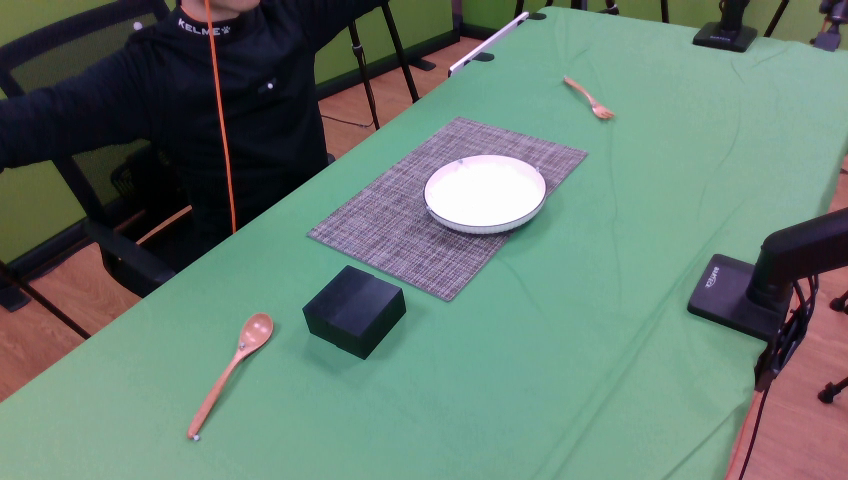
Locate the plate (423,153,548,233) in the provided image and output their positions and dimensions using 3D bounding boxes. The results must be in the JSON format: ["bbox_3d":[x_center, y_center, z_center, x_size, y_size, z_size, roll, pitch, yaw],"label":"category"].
[{"bbox_3d":[0.104,-0.076,1.024,0.209,0.038,0.208,-4,40,4],"label":"plate"}]

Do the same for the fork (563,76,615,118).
[{"bbox_3d":[0.341,-0.303,1.273,0.028,0.019,0.205,-23,44,-2],"label":"fork"}]

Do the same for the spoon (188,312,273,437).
[{"bbox_3d":[-0.258,0.173,0.803,0.041,0.021,0.193,20,45,6],"label":"spoon"}]
